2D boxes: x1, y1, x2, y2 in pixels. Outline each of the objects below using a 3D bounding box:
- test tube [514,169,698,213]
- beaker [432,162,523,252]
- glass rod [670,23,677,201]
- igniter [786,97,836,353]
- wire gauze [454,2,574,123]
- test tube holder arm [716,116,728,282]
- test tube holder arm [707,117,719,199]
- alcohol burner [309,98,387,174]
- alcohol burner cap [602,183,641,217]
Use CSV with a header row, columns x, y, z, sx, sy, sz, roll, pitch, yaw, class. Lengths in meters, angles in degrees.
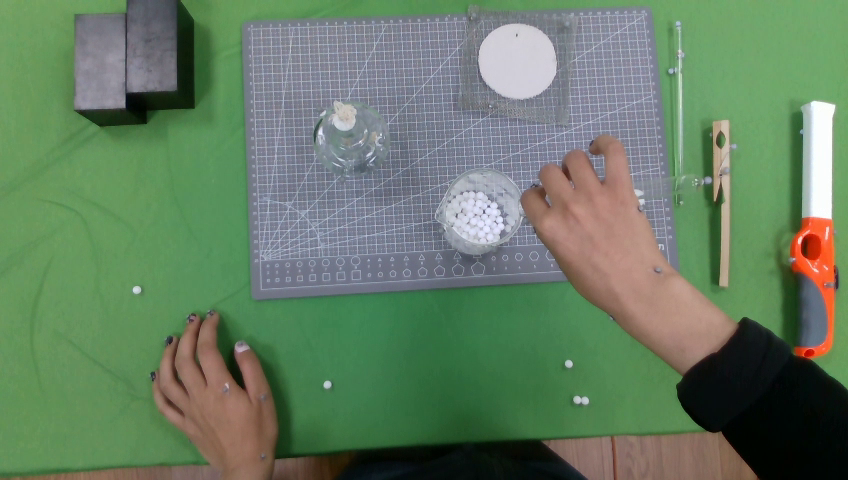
x,y,z,sx,sy,sz,roll,pitch,yaw,class
0.151,-0.041,0.512,0.150,0.017,0.017,-8,83,14,test tube
0.048,-0.027,0.595,0.084,0.100,0.074,-11,84,-3,beaker
0.274,-0.141,0.665,0.008,0.008,0.199,2,86,-3,glass rod
0.415,-0.017,0.649,0.057,0.025,0.276,6,84,-12,igniter
0.099,-0.196,0.661,0.125,0.011,0.121,8,85,-2,wire gauze
0.320,-0.044,0.651,0.013,0.015,0.178,-3,84,32,test tube holder arm
0.315,-0.089,0.658,0.010,0.015,0.087,-3,84,32,test tube holder arm
-0.076,-0.106,0.590,0.078,0.119,0.077,0,83,0,alcohol burner
0.208,-0.044,0.633,0.034,0.048,0.034,0,83,-2,alcohol burner cap
